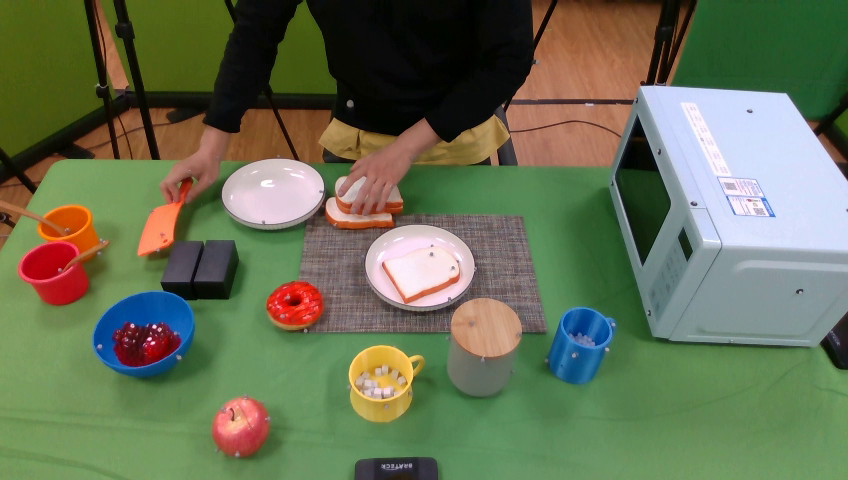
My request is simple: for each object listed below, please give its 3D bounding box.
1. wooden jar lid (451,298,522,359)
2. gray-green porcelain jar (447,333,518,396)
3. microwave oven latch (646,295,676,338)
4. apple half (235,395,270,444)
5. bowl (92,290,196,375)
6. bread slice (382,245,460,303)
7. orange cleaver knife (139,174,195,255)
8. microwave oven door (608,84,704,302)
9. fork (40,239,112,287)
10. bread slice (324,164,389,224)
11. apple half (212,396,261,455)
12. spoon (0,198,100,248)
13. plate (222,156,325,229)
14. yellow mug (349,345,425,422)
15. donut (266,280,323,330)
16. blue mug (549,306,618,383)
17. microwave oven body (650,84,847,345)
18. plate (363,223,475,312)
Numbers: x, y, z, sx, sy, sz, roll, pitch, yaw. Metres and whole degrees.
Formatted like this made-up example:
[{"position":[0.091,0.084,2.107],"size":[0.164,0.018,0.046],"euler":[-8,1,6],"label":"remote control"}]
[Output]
[{"position":[0.093,0.135,0.914],"size":[0.108,0.021,0.107],"euler":[2,49,-3],"label":"wooden jar lid"},{"position":[0.091,0.178,0.960],"size":[0.106,0.127,0.105],"euler":[2,47,-2],"label":"gray-green porcelain jar"},{"position":[0.413,0.133,1.060],"size":[0.030,0.029,0.078],"euler":[4,46,1],"label":"microwave oven latch"},{"position":[-0.245,0.259,0.893],"size":[0.033,0.082,0.081],"euler":[-29,55,-22],"label":"apple half"},{"position":[-0.436,0.161,0.971],"size":[0.151,0.077,0.150],"euler":[2,46,-2],"label":"bowl"},{"position":[0.000,0.054,1.129],"size":[0.131,0.019,0.104],"euler":[-20,52,-20],"label":"bread slice"},{"position":[-0.497,-0.053,1.177],"size":[0.077,0.012,0.210],"euler":[-11,45,11],"label":"orange cleaver knife"},{"position":[0.424,-0.096,1.138],"size":[0.039,0.245,0.353],"euler":[3,46,-1],"label":"microwave oven door"},{"position":[-0.591,0.040,1.028],"size":[0.207,0.019,0.028],"euler":[-27,37,29],"label":"fork"},{"position":[-0.140,-0.091,1.215],"size":[0.134,0.018,0.106],"euler":[-24,50,11],"label":"bread slice"},{"position":[-0.276,0.276,0.877],"size":[0.053,0.075,0.080],"euler":[-29,58,-21],"label":"apple half"},{"position":[-0.684,-0.035,1.092],"size":[0.021,0.195,0.041],"euler":[-32,42,28],"label":"spoon"},{"position":[-0.308,-0.095,1.251],"size":[0.209,0.038,0.208],"euler":[2,46,-2],"label":"plate"},{"position":[-0.054,0.217,0.954],"size":[0.131,0.064,0.099],"euler":[-23,52,-25],"label":"yellow mug"},{"position":[-0.223,0.112,1.051],"size":[0.099,0.048,0.098],"euler":[2,46,-2],"label":"donut"},{"position":[0.269,0.167,0.997],"size":[0.116,0.106,0.082],"euler":[-19,51,-21],"label":"blue mug"},{"position":[0.569,-0.054,1.116],"size":[0.326,0.261,0.439],"euler":[2,46,-1],"label":"microwave oven body"},{"position":[-0.009,0.054,1.126],"size":[0.208,0.039,0.206],"euler":[2,46,-2],"label":"plate"}]
